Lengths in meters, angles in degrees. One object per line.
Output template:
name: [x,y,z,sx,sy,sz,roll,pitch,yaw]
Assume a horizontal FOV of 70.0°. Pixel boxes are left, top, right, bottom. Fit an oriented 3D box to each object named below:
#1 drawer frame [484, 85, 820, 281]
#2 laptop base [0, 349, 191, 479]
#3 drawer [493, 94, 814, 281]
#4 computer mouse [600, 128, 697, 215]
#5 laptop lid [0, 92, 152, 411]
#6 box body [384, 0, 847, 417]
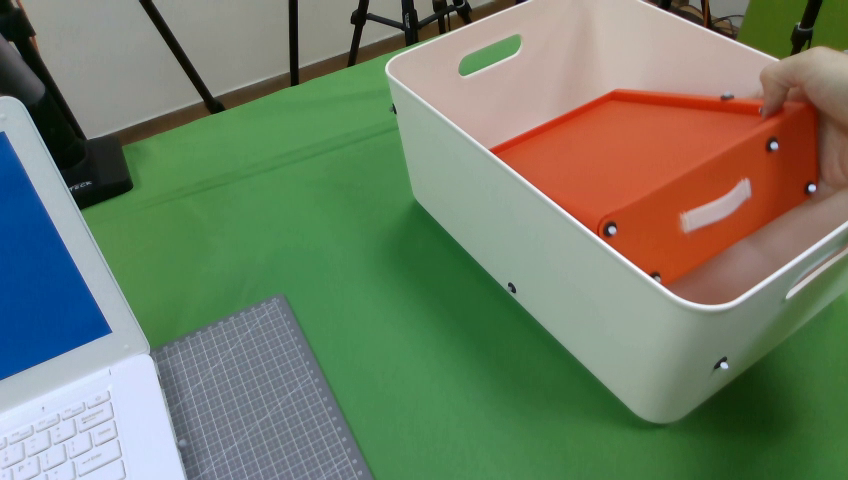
drawer frame: [0.166,-0.056,0.511,0.202,0.083,0.211,-28,24,-15]
laptop base: [-0.331,0.234,0.403,0.355,0.023,0.233,-24,51,-16]
drawer: [0.166,-0.054,0.510,0.194,0.074,0.210,-28,25,-14]
computer mouse: [0.187,-0.046,0.460,0.117,0.041,0.062,-23,52,-5]
laptop lid: [-0.423,0.059,0.441,0.357,0.243,0.013,-26,19,-16]
box body: [0.165,-0.060,0.525,0.254,0.162,0.360,-28,49,-19]
